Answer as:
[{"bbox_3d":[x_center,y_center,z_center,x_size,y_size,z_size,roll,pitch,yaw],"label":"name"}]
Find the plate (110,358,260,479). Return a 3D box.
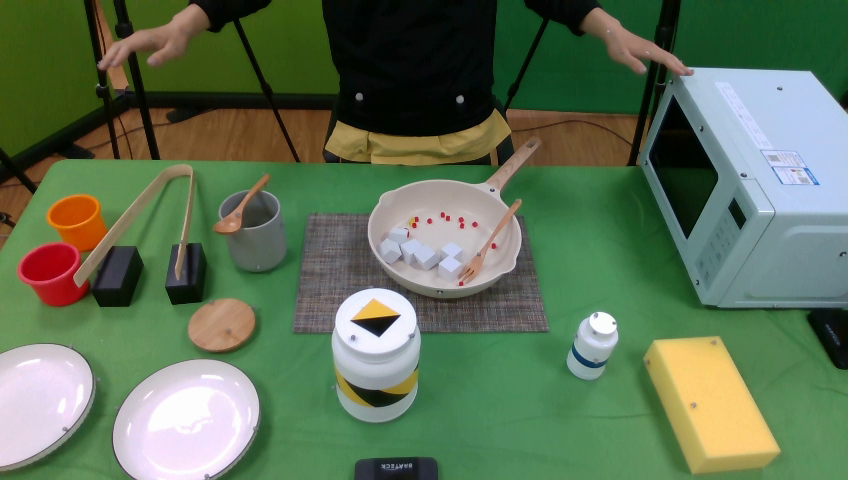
[{"bbox_3d":[-0.349,0.273,0.899,0.208,0.039,0.206,2,46,-2],"label":"plate"}]

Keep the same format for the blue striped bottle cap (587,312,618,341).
[{"bbox_3d":[0.279,0.134,0.947,0.044,0.021,0.044,2,45,-2],"label":"blue striped bottle cap"}]

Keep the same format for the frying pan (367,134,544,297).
[{"bbox_3d":[0.104,-0.069,1.205,0.305,0.103,0.487,32,61,23],"label":"frying pan"}]

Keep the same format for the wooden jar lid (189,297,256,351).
[{"bbox_3d":[-0.342,0.145,1.033,0.108,0.021,0.107,3,45,-2],"label":"wooden jar lid"}]

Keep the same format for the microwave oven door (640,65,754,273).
[{"bbox_3d":[0.523,-0.147,1.193,0.039,0.245,0.353,0,47,-3],"label":"microwave oven door"}]

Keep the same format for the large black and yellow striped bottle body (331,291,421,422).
[{"bbox_3d":[-0.071,0.175,0.911,0.131,0.185,0.130,2,47,-2],"label":"large black and yellow striped bottle body"}]

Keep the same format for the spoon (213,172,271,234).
[{"bbox_3d":[-0.312,-0.069,1.068,0.041,0.022,0.193,10,43,11],"label":"spoon"}]

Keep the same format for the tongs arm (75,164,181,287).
[{"bbox_3d":[-0.549,-0.042,1.142,0.028,0.028,0.385,-3,35,6],"label":"tongs arm"}]

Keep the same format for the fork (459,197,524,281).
[{"bbox_3d":[0.132,-0.004,1.158,0.028,0.019,0.207,28,75,30],"label":"fork"}]

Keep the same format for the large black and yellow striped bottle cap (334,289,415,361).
[{"bbox_3d":[-0.069,0.117,0.850,0.115,0.019,0.114,2,45,-2],"label":"large black and yellow striped bottle cap"}]

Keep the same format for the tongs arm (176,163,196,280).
[{"bbox_3d":[-0.463,-0.048,1.149,0.051,0.026,0.382,-9,36,-7],"label":"tongs arm"}]

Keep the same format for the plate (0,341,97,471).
[{"bbox_3d":[-0.599,0.247,0.904,0.209,0.038,0.208,2,47,-2],"label":"plate"}]

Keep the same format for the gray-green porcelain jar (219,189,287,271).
[{"bbox_3d":[-0.309,-0.014,1.113,0.106,0.127,0.105,2,46,-2],"label":"gray-green porcelain jar"}]

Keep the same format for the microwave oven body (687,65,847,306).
[{"bbox_3d":[0.669,-0.111,1.176,0.326,0.261,0.439,0,46,-3],"label":"microwave oven body"}]

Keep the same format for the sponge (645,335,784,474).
[{"bbox_3d":[0.449,0.253,0.956,0.118,0.061,0.205,-4,46,-7],"label":"sponge"}]

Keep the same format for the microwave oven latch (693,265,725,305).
[{"bbox_3d":[0.523,0.082,1.116,0.030,0.029,0.078,2,46,-1],"label":"microwave oven latch"}]

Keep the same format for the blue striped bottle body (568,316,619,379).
[{"bbox_3d":[0.276,0.168,0.984,0.063,0.121,0.062,2,46,-2],"label":"blue striped bottle body"}]
